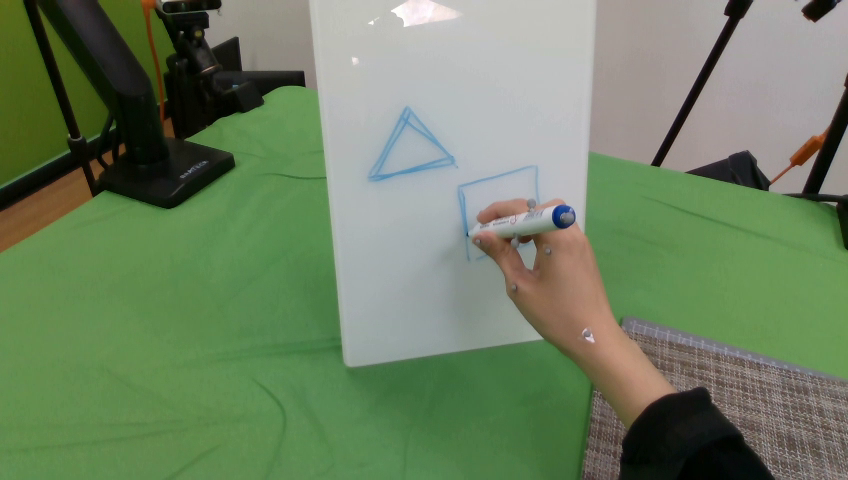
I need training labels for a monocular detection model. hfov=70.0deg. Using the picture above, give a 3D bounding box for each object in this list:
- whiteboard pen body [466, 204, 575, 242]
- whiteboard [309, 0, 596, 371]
[{"bbox_3d":[0.062,-0.010,0.433,0.017,0.017,0.140,-16,1,-23],"label":"whiteboard pen body"},{"bbox_3d":[0.019,-0.066,0.545,0.218,0.307,0.142,-6,19,-11],"label":"whiteboard"}]
